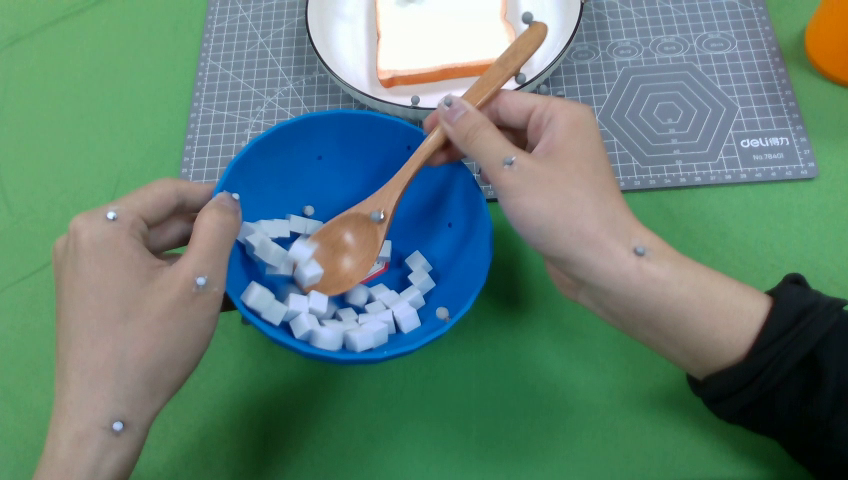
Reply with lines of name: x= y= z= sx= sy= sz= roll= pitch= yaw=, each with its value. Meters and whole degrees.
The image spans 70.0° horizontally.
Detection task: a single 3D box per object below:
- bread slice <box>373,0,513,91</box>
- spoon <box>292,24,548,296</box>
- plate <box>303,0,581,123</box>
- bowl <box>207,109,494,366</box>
bread slice: x=0.009 y=-0.178 z=0.475 sx=0.107 sy=0.018 sz=0.133 roll=-10 pitch=67 yaw=2
spoon: x=0.000 y=-0.045 z=0.328 sx=0.194 sy=0.022 sz=0.041 roll=-48 pitch=68 yaw=4
plate: x=0.012 y=-0.174 z=0.470 sx=0.209 sy=0.038 sz=0.207 roll=-2 pitch=66 yaw=5
bowl: x=-0.042 y=0.008 z=0.353 sx=0.152 sy=0.077 sz=0.150 roll=5 pitch=63 yaw=-9
